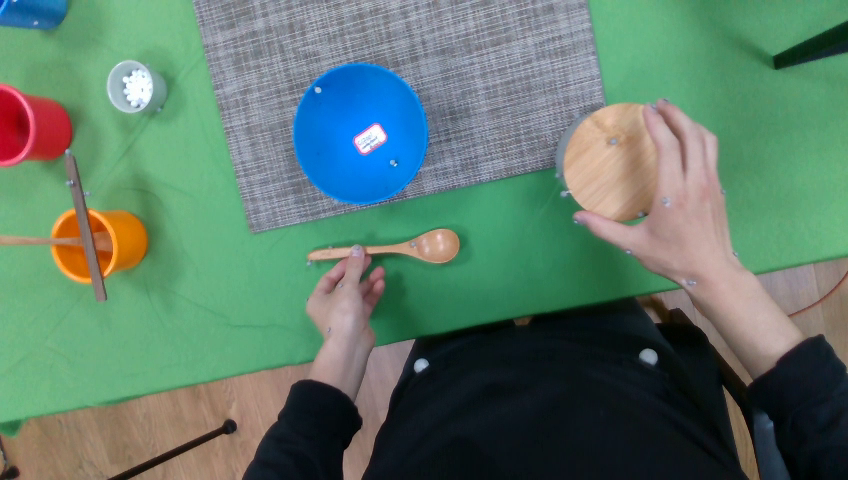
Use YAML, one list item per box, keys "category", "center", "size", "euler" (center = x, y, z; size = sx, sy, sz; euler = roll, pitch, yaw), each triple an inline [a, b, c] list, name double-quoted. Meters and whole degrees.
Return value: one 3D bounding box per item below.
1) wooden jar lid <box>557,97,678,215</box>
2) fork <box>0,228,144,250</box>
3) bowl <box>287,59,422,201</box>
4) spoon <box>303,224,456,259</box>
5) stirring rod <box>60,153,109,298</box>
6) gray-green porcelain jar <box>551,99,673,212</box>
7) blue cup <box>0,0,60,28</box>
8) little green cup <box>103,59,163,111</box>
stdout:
- category: "wooden jar lid"
  center: [0.179, -0.078, 0.566]
  size: [0.108, 0.020, 0.108]
  euler: [1, 100, 7]
- category: "fork"
  center: [-0.453, -0.002, 0.731]
  size: [0.209, 0.018, 0.028]
  euler: [1, 103, -35]
- category: "bowl"
  center: [-0.070, -0.121, 0.686]
  size: [0.151, 0.077, 0.151]
  euler: [1, 99, 9]
- category: "spoon"
  center: [-0.056, 0.007, 0.733]
  size: [0.193, 0.021, 0.041]
  euler: [-4, 90, 8]
- category: "stirring rod"
  center: [-0.402, -0.016, 0.718]
  size: [0.014, 0.006, 0.176]
  euler: [-11, 97, 12]
- category: "gray-green porcelain jar"
  center: [0.187, -0.090, 0.626]
  size: [0.106, 0.126, 0.106]
  euler: [1, 101, 7]
- category: "blue cup"
  center: [-0.496, -0.293, 0.719]
  size: [0.092, 0.100, 0.093]
  euler: [2, 99, 11]
- category: "little green cup"
  center: [-0.356, -0.188, 0.745]
  size: [0.061, 0.038, 0.061]
  euler: [1, 99, 10]
